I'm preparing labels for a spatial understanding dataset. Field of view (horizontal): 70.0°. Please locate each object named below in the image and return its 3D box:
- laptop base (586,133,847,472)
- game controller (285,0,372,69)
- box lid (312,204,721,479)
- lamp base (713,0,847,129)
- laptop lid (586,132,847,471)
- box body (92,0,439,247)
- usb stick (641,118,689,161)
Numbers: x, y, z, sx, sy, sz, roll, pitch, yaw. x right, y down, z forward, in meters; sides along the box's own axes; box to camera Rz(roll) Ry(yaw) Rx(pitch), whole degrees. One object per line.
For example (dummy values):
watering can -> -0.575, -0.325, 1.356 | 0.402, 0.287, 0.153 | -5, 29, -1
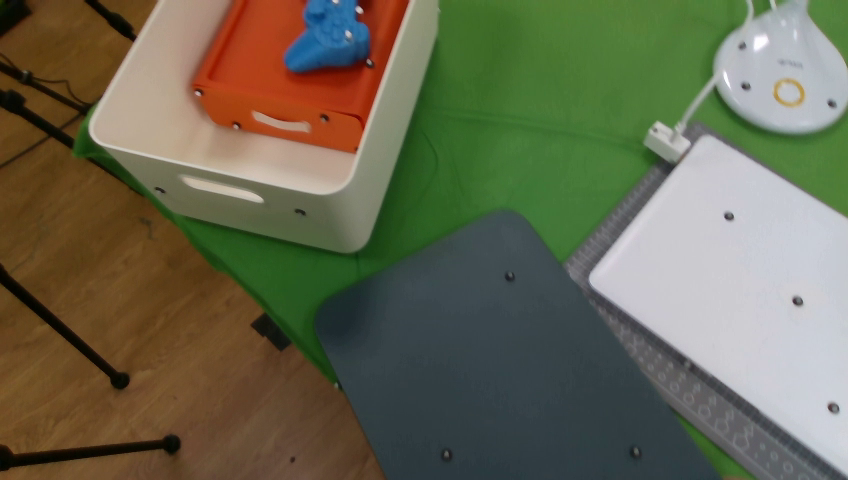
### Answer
laptop base -> 0.375, 0.061, 0.623 | 0.352, 0.023, 0.235 | 38, 76, 17
game controller -> -0.106, -0.267, 0.687 | 0.097, 0.052, 0.154 | 1, 66, -2
box lid -> 0.074, 0.147, 0.589 | 0.263, 0.015, 0.368 | -28, 65, -11
lamp base -> 0.430, -0.246, 0.669 | 0.160, 0.181, 0.178 | 3, 63, 3
laptop lid -> 0.373, 0.058, 0.612 | 0.354, 0.013, 0.241 | 40, 76, 17
box body -> -0.141, -0.193, 0.674 | 0.254, 0.161, 0.362 | 13, 67, 7
usb stick -> 0.279, -0.110, 0.688 | 0.059, 0.027, 0.021 | 43, 69, 15
